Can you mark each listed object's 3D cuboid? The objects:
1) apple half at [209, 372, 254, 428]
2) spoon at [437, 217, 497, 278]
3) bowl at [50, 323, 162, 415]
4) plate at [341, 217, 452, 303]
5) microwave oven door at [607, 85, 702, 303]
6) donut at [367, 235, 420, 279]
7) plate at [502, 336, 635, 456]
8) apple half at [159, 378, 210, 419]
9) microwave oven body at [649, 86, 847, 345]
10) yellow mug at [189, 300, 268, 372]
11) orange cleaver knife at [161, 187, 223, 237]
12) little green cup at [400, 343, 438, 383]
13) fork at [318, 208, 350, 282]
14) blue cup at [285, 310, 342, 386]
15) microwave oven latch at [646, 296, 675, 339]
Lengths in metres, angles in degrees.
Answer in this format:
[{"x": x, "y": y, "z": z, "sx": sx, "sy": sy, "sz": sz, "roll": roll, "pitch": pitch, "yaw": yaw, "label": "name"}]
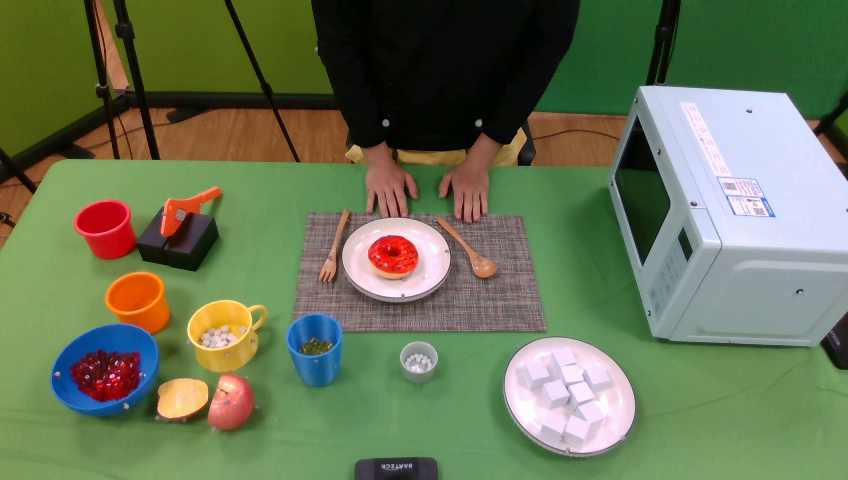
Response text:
[{"x": -0.282, "y": 0.244, "z": 0.908, "sx": 0.053, "sy": 0.075, "sz": 0.080, "roll": 8, "pitch": 42, "yaw": -2, "label": "apple half"}, {"x": 0.080, "y": 0.010, "z": 1.188, "sx": 0.041, "sy": 0.022, "sz": 0.192, "roll": -34, "pitch": 55, "yaw": -8, "label": "spoon"}, {"x": -0.472, "y": 0.209, "z": 0.924, "sx": 0.151, "sy": 0.077, "sz": 0.150, "roll": 3, "pitch": 45, "yaw": -2, "label": "bowl"}, {"x": -0.052, "y": 0.039, "z": 1.140, "sx": 0.209, "sy": 0.038, "sz": 0.208, "roll": 2, "pitch": 46, "yaw": -2, "label": "plate"}, {"x": 0.423, "y": -0.094, "z": 1.141, "sx": 0.039, "sy": 0.245, "sz": 0.353, "roll": 2, "pitch": 46, "yaw": -1, "label": "microwave oven door"}, {"x": -0.056, "y": 0.032, "z": 1.132, "sx": 0.099, "sy": 0.048, "sz": 0.098, "roll": 3, "pitch": 45, "yaw": -3, "label": "donut"}, {"x": 0.225, "y": 0.248, "z": 0.963, "sx": 0.208, "sy": 0.039, "sz": 0.206, "roll": 2, "pitch": 46, "yaw": -2, "label": "plate"}, {"x": -0.366, "y": 0.247, "z": 0.926, "sx": 0.081, "sy": 0.033, "sz": 0.081, "roll": 8, "pitch": 31, "yaw": -5, "label": "apple half"}, {"x": 0.568, "y": -0.053, "z": 1.118, "sx": 0.326, "sy": 0.261, "sz": 0.439, "roll": 2, "pitch": 45, "yaw": -1, "label": "microwave oven body"}, {"x": -0.316, "y": 0.149, "z": 1.002, "sx": 0.131, "sy": 0.064, "sz": 0.099, "roll": -32, "pitch": 55, "yaw": -31, "label": "yellow mug"}, {"x": -0.448, "y": -0.058, "z": 1.181, "sx": 0.012, "sy": 0.077, "sz": 0.211, "roll": 13, "pitch": 17, "yaw": 6, "label": "orange cleaver knife"}, {"x": -0.010, "y": 0.202, "z": 0.991, "sx": 0.061, "sy": 0.039, "sz": 0.061, "roll": 2, "pitch": 46, "yaw": -2, "label": "little green cup"}, {"x": -0.170, "y": 0.006, "z": 1.177, "sx": 0.028, "sy": 0.019, "sz": 0.206, "roll": 4, "pitch": 48, "yaw": 7, "label": "fork"}, {"x": -0.170, "y": 0.179, "z": 0.958, "sx": 0.093, "sy": 0.101, "sz": 0.092, "roll": 2, "pitch": 44, "yaw": -1, "label": "blue cup"}, {"x": 0.412, "y": 0.134, "z": 1.061, "sx": 0.030, "sy": 0.029, "sz": 0.078, "roll": 4, "pitch": 45, "yaw": 1, "label": "microwave oven latch"}]
